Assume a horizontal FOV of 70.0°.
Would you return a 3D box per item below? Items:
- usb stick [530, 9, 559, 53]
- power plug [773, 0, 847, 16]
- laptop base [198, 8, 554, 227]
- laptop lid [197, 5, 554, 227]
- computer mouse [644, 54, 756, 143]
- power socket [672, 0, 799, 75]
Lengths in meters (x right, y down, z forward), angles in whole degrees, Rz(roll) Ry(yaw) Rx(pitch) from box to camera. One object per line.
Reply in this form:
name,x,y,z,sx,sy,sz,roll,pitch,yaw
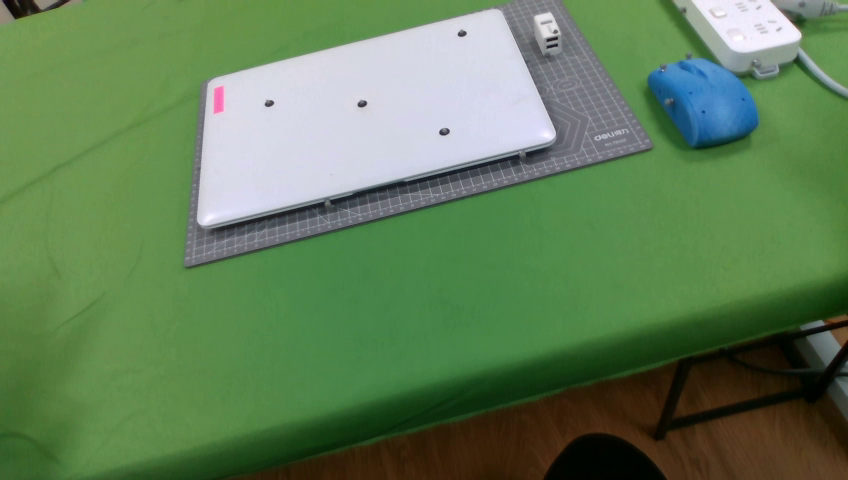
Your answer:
usb stick,0.133,-0.237,0.675,0.021,0.027,0.058,-14,49,5
power plug,0.398,-0.247,0.632,0.072,0.035,0.052,14,31,-3
laptop base,-0.064,-0.137,0.648,0.354,0.023,0.233,-14,54,1
laptop lid,-0.066,-0.143,0.637,0.357,0.013,0.239,-13,53,2
computer mouse,0.256,-0.141,0.569,0.063,0.041,0.116,-15,46,4
power socket,0.318,-0.258,0.651,0.072,0.033,0.224,-12,51,4
